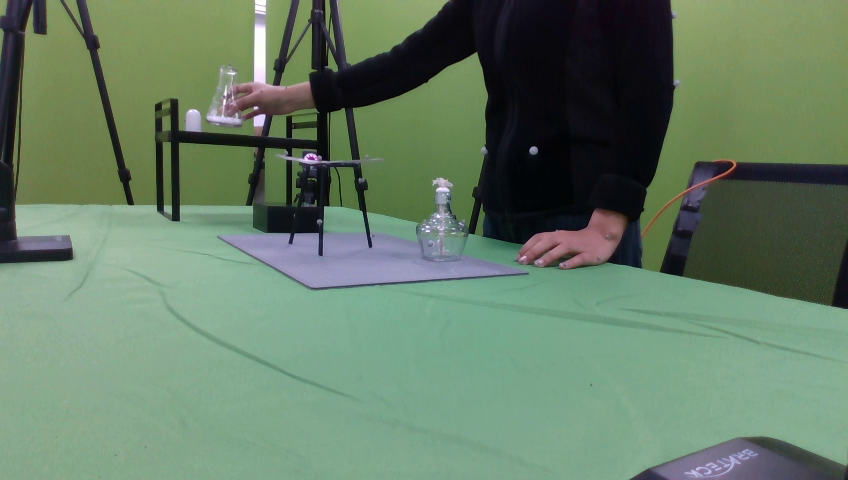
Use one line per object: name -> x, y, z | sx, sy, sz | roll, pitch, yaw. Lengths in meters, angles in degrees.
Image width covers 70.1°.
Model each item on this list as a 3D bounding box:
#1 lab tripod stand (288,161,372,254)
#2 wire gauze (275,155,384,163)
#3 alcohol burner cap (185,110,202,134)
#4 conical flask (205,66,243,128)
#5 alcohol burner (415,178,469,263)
lab tripod stand -> -0.148, -0.052, 0.909 | 0.148, 0.131, 0.148 | 1, 8, 0
wire gauze -> -0.142, -0.118, 0.900 | 0.122, 0.011, 0.124 | -3, 8, -37
alcohol burner cap -> -0.470, -0.242, 1.234 | 0.034, 0.048, 0.034 | 4, 7, 0
conical flask -> -0.417, -0.302, 1.276 | 0.075, 0.122, 0.075 | 7, 4, 0
alcohol burner -> 0.026, -0.028, 0.863 | 0.078, 0.119, 0.078 | 1, 6, 0
